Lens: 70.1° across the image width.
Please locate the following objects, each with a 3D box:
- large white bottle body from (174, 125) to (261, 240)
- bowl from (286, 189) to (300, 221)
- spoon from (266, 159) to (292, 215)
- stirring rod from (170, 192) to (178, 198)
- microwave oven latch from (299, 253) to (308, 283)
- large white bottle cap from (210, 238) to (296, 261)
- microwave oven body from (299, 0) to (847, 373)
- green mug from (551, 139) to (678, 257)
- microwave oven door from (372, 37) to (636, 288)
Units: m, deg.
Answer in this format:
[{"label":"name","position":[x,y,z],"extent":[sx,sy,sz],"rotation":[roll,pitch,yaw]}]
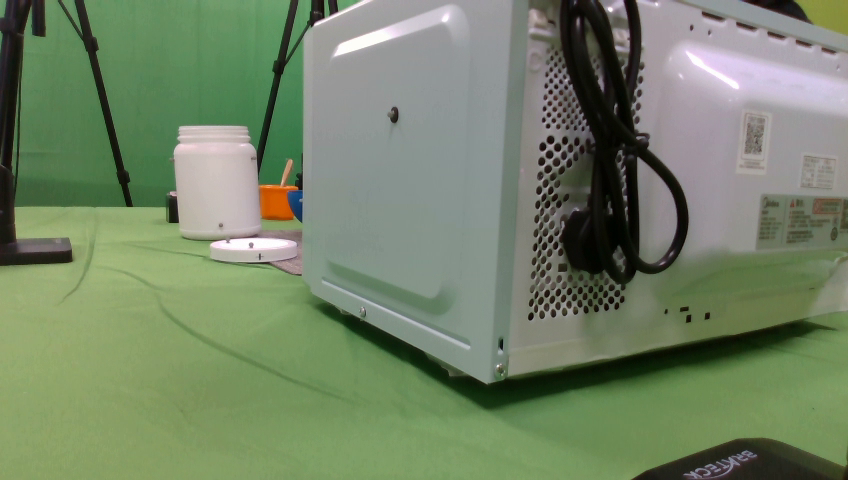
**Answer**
[{"label":"large white bottle body","position":[-0.349,-0.100,1.025],"extent":[0.131,0.184,0.130],"rotation":[-1,9,0]},{"label":"bowl","position":[-0.179,-0.051,1.115],"extent":[0.151,0.077,0.151],"rotation":[3,8,0]},{"label":"spoon","position":[-0.334,-0.127,1.423],"extent":[0.041,0.193,0.022],"rotation":[0,-37,7]},{"label":"stirring rod","position":[-0.465,-0.098,1.283],"extent":[0.014,0.006,0.177],"rotation":[42,21,17]},{"label":"microwave oven latch","position":[-0.082,0.027,0.586],"extent":[0.079,0.029,0.030],"rotation":[-3,8,-40]},{"label":"large white bottle cap","position":[-0.236,0.012,0.839],"extent":[0.115,0.018,0.115],"rotation":[2,7,0]},{"label":"microwave oven body","position":[0.152,-0.055,0.542],"extent":[0.444,0.260,0.324],"rotation":[-2,7,-33]},{"label":"green mug","position":[0.178,-0.037,0.582],"extent":[0.124,0.105,0.093],"rotation":[-1,0,43]},{"label":"microwave oven door","position":[0.110,-0.080,0.686],"extent":[0.358,0.243,0.039],"rotation":[-2,9,-33]}]
